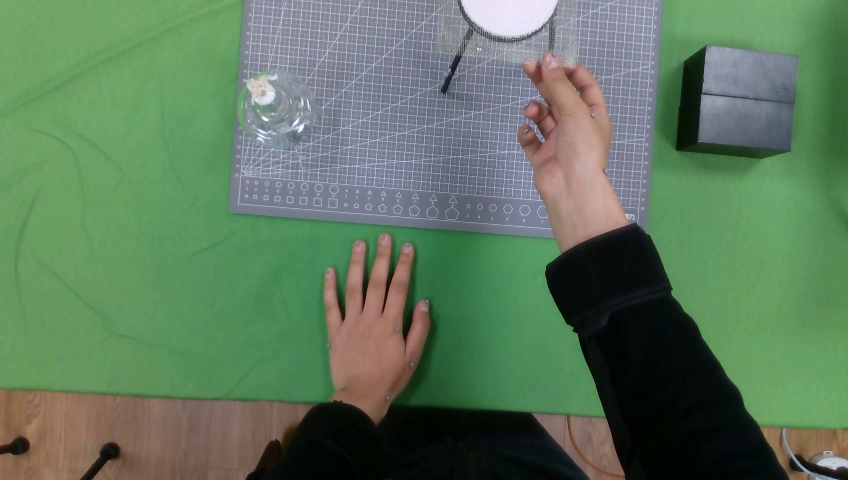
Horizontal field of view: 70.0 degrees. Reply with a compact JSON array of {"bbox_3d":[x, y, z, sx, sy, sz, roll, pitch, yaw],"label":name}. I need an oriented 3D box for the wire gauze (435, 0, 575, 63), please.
[{"bbox_3d":[0.072,-0.218,0.521,0.125,0.011,0.121,3,90,-2],"label":"wire gauze"}]

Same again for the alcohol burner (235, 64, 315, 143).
[{"bbox_3d":[-0.147,-0.135,0.586,0.078,0.119,0.078,0,91,-3],"label":"alcohol burner"}]

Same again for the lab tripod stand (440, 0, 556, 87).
[{"bbox_3d":[0.067,-0.222,0.588,0.148,0.131,0.148,0,89,-1],"label":"lab tripod stand"}]
